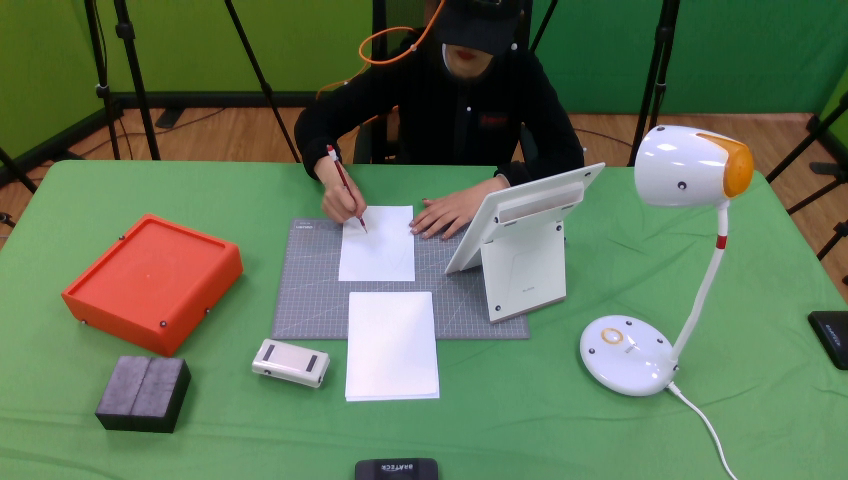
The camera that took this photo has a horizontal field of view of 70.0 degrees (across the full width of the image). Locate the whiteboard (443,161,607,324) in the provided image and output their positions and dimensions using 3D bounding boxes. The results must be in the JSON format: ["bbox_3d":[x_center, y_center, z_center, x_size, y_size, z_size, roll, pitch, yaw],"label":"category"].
[{"bbox_3d":[0.185,0.026,1.028,0.217,0.306,0.143,-15,68,-18],"label":"whiteboard"}]

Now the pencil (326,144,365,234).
[{"bbox_3d":[-0.148,-0.095,1.163,0.012,0.195,0.012,-16,26,8],"label":"pencil"}]

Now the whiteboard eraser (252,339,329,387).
[{"bbox_3d":[-0.215,0.199,0.976,0.112,0.042,0.055,12,45,7],"label":"whiteboard eraser"}]

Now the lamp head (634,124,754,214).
[{"bbox_3d":[0.351,-0.089,0.776,0.112,0.113,0.122,-30,30,-28],"label":"lamp head"}]

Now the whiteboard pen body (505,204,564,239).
[{"bbox_3d":[0.227,-0.037,1.250,0.140,0.017,0.017,31,52,24],"label":"whiteboard pen body"}]

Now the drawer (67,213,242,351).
[{"bbox_3d":[-0.461,0.068,1.056,0.194,0.073,0.211,19,48,13],"label":"drawer"}]

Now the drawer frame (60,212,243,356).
[{"bbox_3d":[-0.462,0.070,1.053,0.201,0.083,0.213,18,48,12],"label":"drawer frame"}]

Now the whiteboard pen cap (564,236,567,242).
[{"bbox_3d":[0.271,-0.008,1.225,0.033,0.018,0.018,34,53,23],"label":"whiteboard pen cap"}]

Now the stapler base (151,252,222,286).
[{"bbox_3d":[-0.432,0.047,1.103,0.130,0.024,0.041,16,33,12],"label":"stapler base"}]

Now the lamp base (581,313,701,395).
[{"bbox_3d":[0.361,0.144,0.973,0.178,0.181,0.160,34,53,23],"label":"lamp base"}]

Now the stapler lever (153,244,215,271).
[{"bbox_3d":[-0.430,0.025,1.088,0.118,0.040,0.027,16,33,12],"label":"stapler lever"}]
